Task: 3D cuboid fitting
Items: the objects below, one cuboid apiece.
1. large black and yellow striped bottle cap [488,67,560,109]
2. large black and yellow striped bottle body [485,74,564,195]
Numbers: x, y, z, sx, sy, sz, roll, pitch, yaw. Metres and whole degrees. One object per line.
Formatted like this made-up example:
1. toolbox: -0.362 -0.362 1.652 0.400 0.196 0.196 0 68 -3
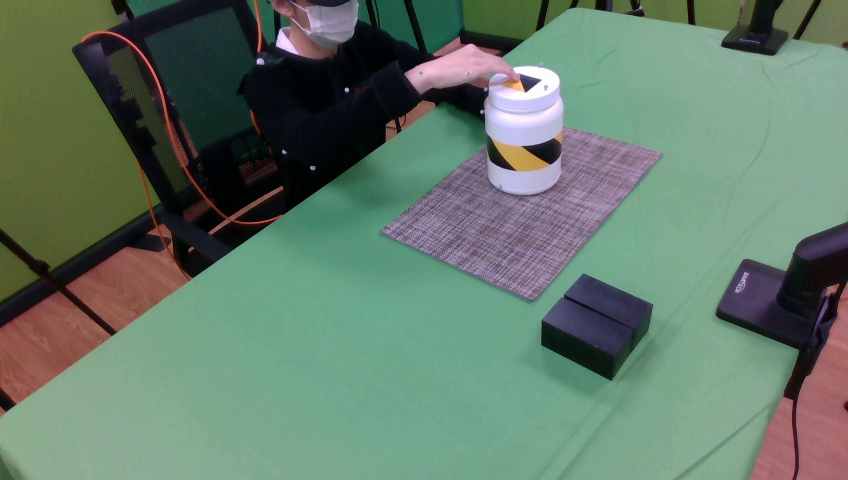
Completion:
1. large black and yellow striped bottle cap: 0.162 -0.247 0.979 0.115 0.019 0.114 -6 39 5
2. large black and yellow striped bottle body: 0.171 -0.184 1.034 0.131 0.185 0.130 -5 40 4
